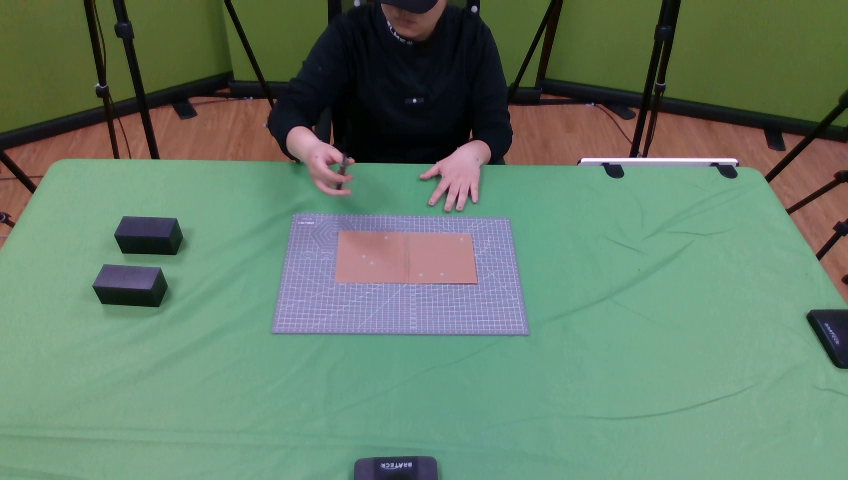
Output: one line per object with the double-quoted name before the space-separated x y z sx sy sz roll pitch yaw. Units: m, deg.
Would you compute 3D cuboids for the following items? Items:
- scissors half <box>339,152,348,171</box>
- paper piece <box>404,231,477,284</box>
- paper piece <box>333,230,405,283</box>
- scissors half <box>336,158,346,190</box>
"scissors half" -0.146 -0.143 1.111 0.013 0.040 0.175 9 5 -10
"paper piece" 0.030 0.033 1.174 0.138 0.009 0.135 2 49 -3
"paper piece" -0.104 0.031 1.165 0.135 0.004 0.135 2 47 -4
"scissors half" -0.150 -0.124 1.109 0.013 0.175 0.040 14 77 -9
